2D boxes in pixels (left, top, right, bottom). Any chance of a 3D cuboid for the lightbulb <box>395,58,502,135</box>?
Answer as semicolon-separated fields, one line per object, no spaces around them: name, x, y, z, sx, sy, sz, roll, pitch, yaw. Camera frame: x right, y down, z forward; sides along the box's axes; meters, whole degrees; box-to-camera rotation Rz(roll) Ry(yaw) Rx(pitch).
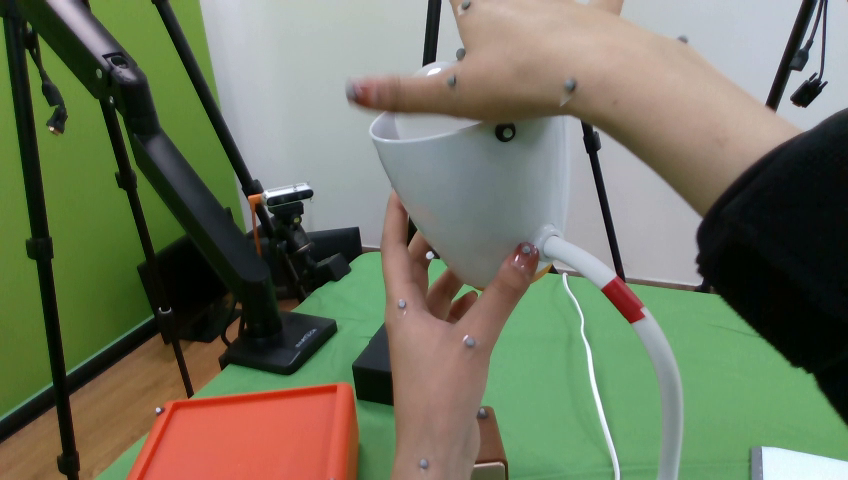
lightbulb;0.024;-0.052;0.350;0.059;0.109;0.059;-20;32;13

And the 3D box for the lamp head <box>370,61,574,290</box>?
lamp head;0.040;-0.031;0.358;0.112;0.124;0.111;-19;21;8

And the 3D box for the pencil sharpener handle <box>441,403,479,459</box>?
pencil sharpener handle;0.032;0.176;0.578;0.036;0.068;0.030;-1;25;-4

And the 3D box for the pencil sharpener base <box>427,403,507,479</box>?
pencil sharpener base;0.038;0.208;0.537;0.061;0.108;0.076;-6;25;-1

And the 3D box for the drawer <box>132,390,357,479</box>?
drawer;-0.165;0.233;0.551;0.194;0.074;0.210;-6;24;-1

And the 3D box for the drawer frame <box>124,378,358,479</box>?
drawer frame;-0.167;0.231;0.554;0.202;0.083;0.212;-6;24;-2

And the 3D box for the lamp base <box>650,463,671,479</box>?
lamp base;0.150;0.240;0.357;0.161;0.181;0.178;-8;21;-5

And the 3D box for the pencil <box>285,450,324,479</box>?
pencil;-0.162;0.249;0.524;0.194;0.012;0.012;-37;38;-30
